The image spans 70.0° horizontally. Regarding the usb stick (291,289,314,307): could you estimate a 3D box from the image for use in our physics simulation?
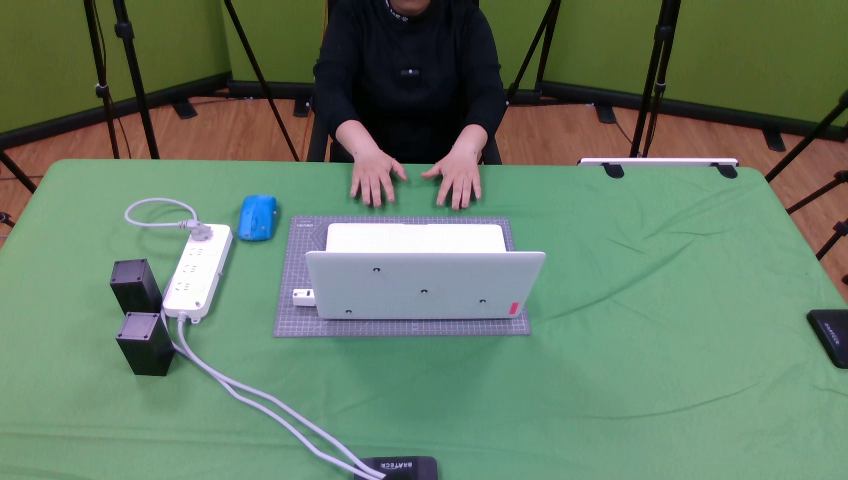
[{"bbox_3d":[-0.203,0.102,1.066,0.059,0.027,0.021,4,44,-5],"label":"usb stick"}]

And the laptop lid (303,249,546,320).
[{"bbox_3d":[-0.002,0.077,0.961,0.357,0.242,0.013,1,58,-5],"label":"laptop lid"}]

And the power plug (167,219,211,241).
[{"bbox_3d":[-0.438,-0.017,1.143,0.072,0.053,0.035,11,44,7],"label":"power plug"}]

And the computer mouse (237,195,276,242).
[{"bbox_3d":[-0.333,-0.047,1.207,0.063,0.041,0.116,3,50,-5],"label":"computer mouse"}]

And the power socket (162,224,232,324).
[{"bbox_3d":[-0.411,0.053,1.106,0.072,0.033,0.225,3,45,-1],"label":"power socket"}]

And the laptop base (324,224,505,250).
[{"bbox_3d":[-0.014,0.055,1.144,0.355,0.023,0.234,0,42,-4],"label":"laptop base"}]
